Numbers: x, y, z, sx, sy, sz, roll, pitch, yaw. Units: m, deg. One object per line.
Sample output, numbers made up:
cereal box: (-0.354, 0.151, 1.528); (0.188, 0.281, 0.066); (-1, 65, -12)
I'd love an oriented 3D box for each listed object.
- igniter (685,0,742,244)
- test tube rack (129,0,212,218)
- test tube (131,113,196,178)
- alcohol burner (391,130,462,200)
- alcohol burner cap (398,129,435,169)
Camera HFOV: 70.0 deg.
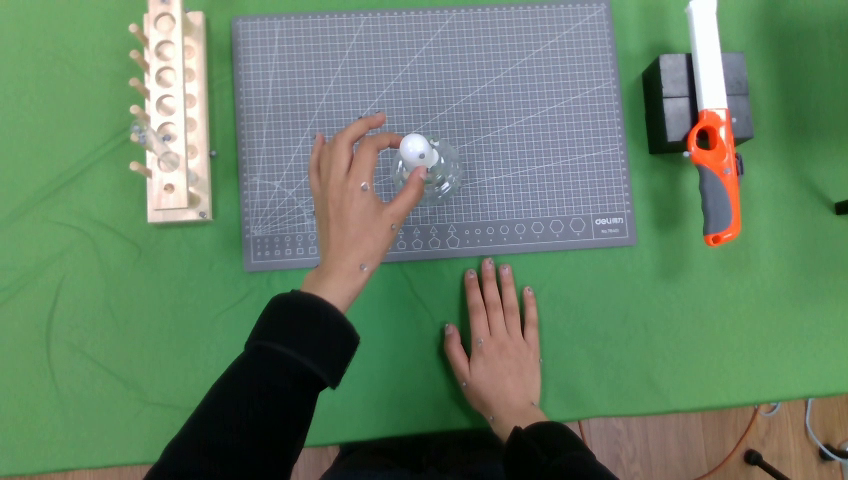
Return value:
igniter: (0.314, -0.133, 0.665); (0.057, 0.025, 0.275); (-1, 83, 0)
test tube rack: (-0.277, -0.151, 0.650); (0.067, 0.085, 0.241); (-3, 84, -3)
test tube: (-0.252, -0.089, 0.596); (0.017, 0.150, 0.017); (1, 78, -4)
alcohol burner: (0.003, -0.083, 0.642); (0.078, 0.119, 0.077); (0, 85, -2)
alcohol burner cap: (-0.008, -0.088, 0.567); (0.034, 0.048, 0.034); (-1, 83, 7)
